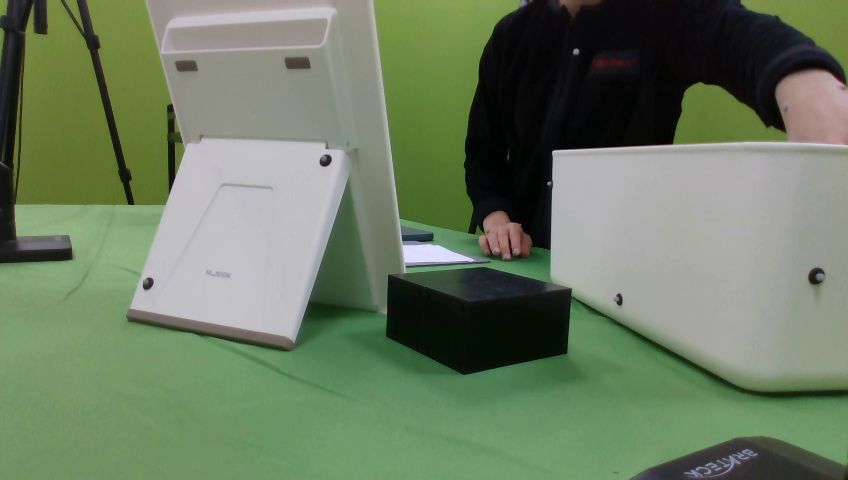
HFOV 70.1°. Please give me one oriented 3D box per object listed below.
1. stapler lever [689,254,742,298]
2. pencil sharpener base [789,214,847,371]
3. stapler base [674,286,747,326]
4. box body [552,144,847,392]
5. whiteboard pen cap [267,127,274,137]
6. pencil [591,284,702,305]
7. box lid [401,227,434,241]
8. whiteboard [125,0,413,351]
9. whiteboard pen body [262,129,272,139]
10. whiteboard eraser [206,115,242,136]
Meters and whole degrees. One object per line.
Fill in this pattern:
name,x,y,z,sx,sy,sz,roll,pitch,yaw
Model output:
stapler lever,0.284,0.033,0.584,0.026,0.040,0.119,14,9,37
pencil sharpener base,0.324,0.037,0.442,0.077,0.107,0.061,1,6,-21
stapler base,0.280,0.060,0.586,0.041,0.024,0.131,14,10,37
box body,0.290,0.002,0.549,0.255,0.160,0.363,2,7,-10
whiteboard pen cap,-0.340,-0.239,1.338,0.018,0.018,0.033,1,-1,-15
pencil,0.248,0.057,0.656,0.195,0.012,0.012,-2,9,-35
box lid,-0.196,-0.015,1.105,0.373,0.015,0.262,-1,7,-32
whiteboard,-0.151,-0.050,0.471,0.216,0.305,0.144,6,27,24
whiteboard pen body,-0.361,-0.245,1.393,0.017,0.017,0.140,0,5,-20
whiteboard eraser,-0.438,-0.249,1.320,0.056,0.042,0.112,-3,9,-30
